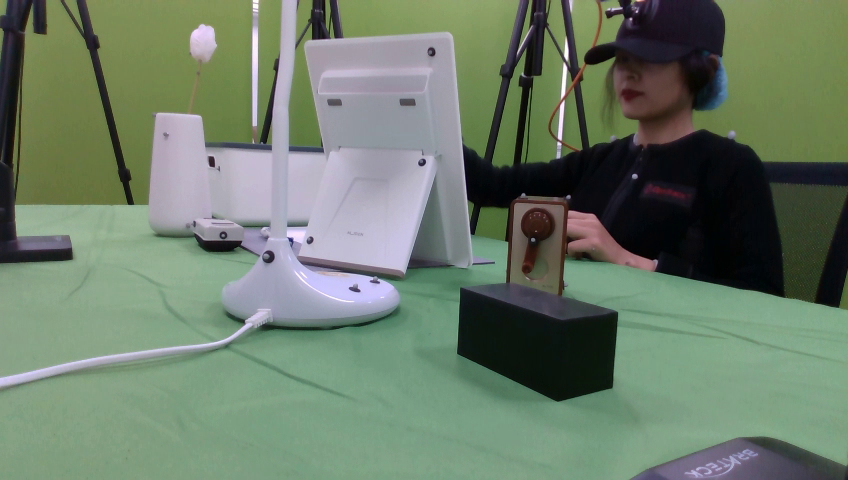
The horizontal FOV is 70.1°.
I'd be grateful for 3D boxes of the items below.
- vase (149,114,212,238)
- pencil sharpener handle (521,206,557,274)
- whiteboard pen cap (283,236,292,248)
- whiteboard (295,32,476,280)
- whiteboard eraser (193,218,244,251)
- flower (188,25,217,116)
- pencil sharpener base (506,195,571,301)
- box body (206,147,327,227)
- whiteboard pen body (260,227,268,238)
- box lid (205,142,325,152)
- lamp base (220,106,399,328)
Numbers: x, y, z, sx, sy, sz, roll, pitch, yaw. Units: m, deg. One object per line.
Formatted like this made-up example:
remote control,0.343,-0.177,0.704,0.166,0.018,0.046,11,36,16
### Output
vase,-0.405,-0.106,1.005,0.098,0.200,0.098,2,6,0
pencil sharpener handle,0.112,0.000,0.611,0.036,0.067,0.031,13,10,11
whiteboard pen cap,-0.211,0.003,0.913,0.018,0.018,0.033,-2,5,-27
whiteboard,-0.076,-0.084,0.747,0.216,0.305,0.144,7,28,29
whiteboard eraser,-0.307,-0.010,0.900,0.056,0.042,0.112,-4,10,-28
flower,-0.394,-0.189,1.012,0.044,0.361,0.038,-1,-13,28
pencil sharpener base,0.126,0.007,0.662,0.061,0.107,0.077,4,8,13
box body,-0.276,-0.122,1.320,0.366,0.160,0.253,-2,9,-30
whiteboard pen body,-0.239,-0.005,0.964,0.017,0.017,0.140,-2,9,-28
box lid,-0.270,-0.196,1.311,0.373,0.015,0.262,-2,9,-30
lamp base,-0.102,-0.023,0.531,0.160,0.180,0.179,4,10,10
